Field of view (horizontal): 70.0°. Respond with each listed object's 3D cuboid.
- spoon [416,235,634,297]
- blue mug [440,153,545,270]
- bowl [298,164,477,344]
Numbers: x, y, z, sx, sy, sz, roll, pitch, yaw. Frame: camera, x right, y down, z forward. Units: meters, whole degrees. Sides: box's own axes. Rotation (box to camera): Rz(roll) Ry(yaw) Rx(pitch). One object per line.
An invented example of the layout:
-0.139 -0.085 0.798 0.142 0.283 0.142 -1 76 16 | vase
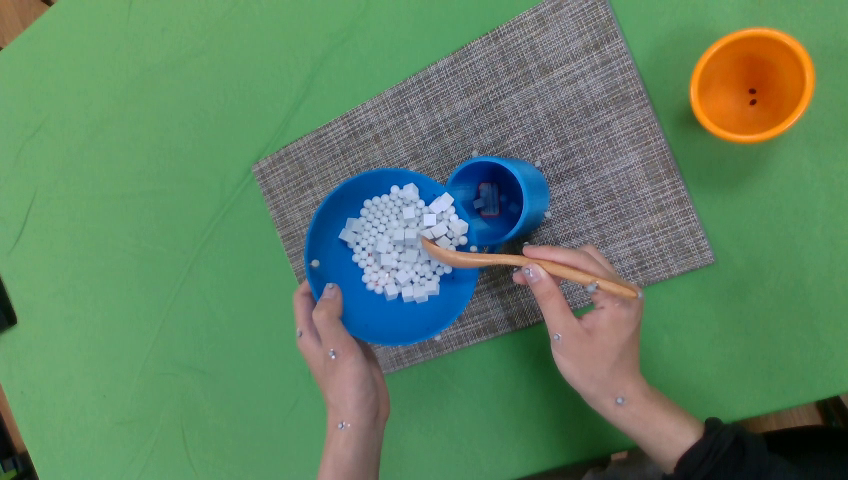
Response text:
0.069 0.018 0.472 0.192 0.042 0.021 8 73 38 | spoon
0.065 -0.026 0.597 0.082 0.106 0.117 18 103 19 | blue mug
-0.037 0.016 0.534 0.152 0.077 0.151 2 81 -15 | bowl
